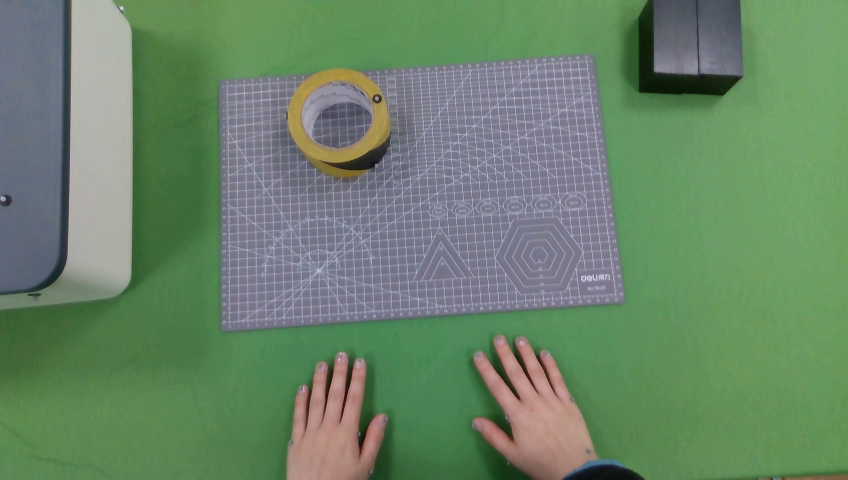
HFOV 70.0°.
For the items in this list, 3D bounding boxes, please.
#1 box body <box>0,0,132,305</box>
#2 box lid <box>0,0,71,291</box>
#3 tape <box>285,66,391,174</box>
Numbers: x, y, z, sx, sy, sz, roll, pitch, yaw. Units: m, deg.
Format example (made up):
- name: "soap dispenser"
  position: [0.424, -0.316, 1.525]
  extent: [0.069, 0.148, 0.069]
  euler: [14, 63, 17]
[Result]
- name: "box body"
  position: [-0.461, -0.112, 0.636]
  extent: [0.254, 0.161, 0.362]
  euler: [-6, 79, -1]
- name: "box lid"
  position: [-0.462, -0.129, 0.563]
  extent: [0.263, 0.015, 0.370]
  euler: [-5, 80, 0]
- name: "tape"
  position: [-0.095, -0.135, 0.689]
  extent: [0.117, 0.053, 0.116]
  euler: [0, 80, 1]
